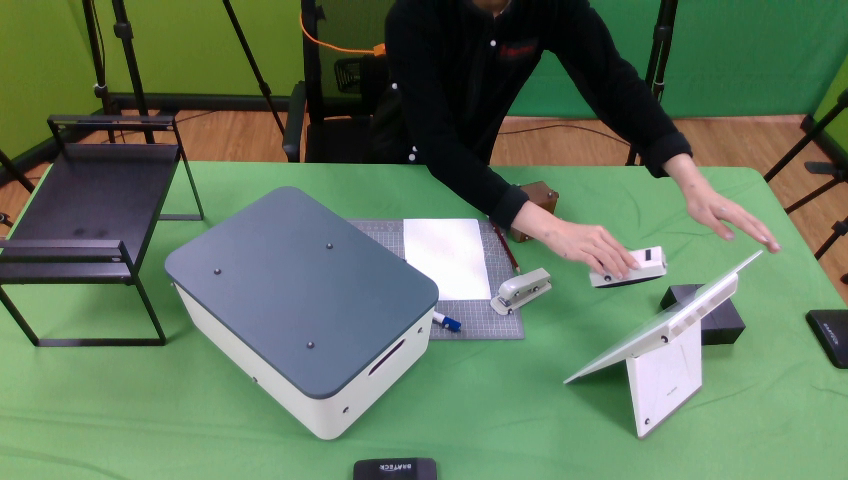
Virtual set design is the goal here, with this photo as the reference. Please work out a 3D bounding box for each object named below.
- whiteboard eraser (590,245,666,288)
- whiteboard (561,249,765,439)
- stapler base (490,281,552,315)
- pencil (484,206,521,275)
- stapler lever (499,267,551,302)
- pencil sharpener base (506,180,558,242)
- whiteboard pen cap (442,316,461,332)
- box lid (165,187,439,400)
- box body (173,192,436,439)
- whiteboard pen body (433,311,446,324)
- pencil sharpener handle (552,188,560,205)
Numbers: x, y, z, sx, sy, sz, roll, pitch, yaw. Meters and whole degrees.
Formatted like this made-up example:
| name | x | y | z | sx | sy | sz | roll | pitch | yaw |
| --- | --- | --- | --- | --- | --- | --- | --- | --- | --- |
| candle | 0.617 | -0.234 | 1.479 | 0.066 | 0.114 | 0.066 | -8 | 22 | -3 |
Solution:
| name | x | y | z | sx | sy | sz | roll | pitch | yaw |
| --- | --- | --- | --- | --- | --- | --- | --- | --- | --- |
| whiteboard eraser | 0.322 | 0.045 | 0.955 | 0.112 | 0.042 | 0.055 | -14 | 24 | 27 |
| whiteboard | 0.386 | 0.176 | 0.905 | 0.217 | 0.306 | 0.143 | -26 | 72 | -26 |
| stapler base | 0.181 | 0.094 | 1.118 | 0.130 | 0.024 | 0.041 | -24 | 57 | -29 |
| pencil | 0.157 | -0.002 | 1.217 | 0.012 | 0.012 | 0.192 | -10 | 48 | -14 |
| stapler lever | 0.185 | 0.076 | 1.101 | 0.118 | 0.040 | 0.026 | -24 | 57 | -29 |
| pencil sharpener base | 0.216 | -0.058 | 1.211 | 0.077 | 0.107 | 0.061 | -16 | 49 | -19 |
| whiteboard pen cap | 0.048 | 0.146 | 1.060 | 0.033 | 0.018 | 0.018 | 23 | 49 | 17 |
| box lid | -0.186 | 0.060 | 0.925 | 0.370 | 0.015 | 0.263 | 32 | 53 | 25 |
| box body | -0.191 | 0.110 | 0.979 | 0.362 | 0.161 | 0.254 | 33 | 53 | 24 |
| whiteboard pen body | -0.004 | 0.123 | 1.074 | 0.140 | 0.017 | 0.017 | 24 | 49 | 15 |
| pencil sharpener handle | 0.261 | -0.084 | 1.221 | 0.031 | 0.068 | 0.036 | -16 | 66 | -19 |
